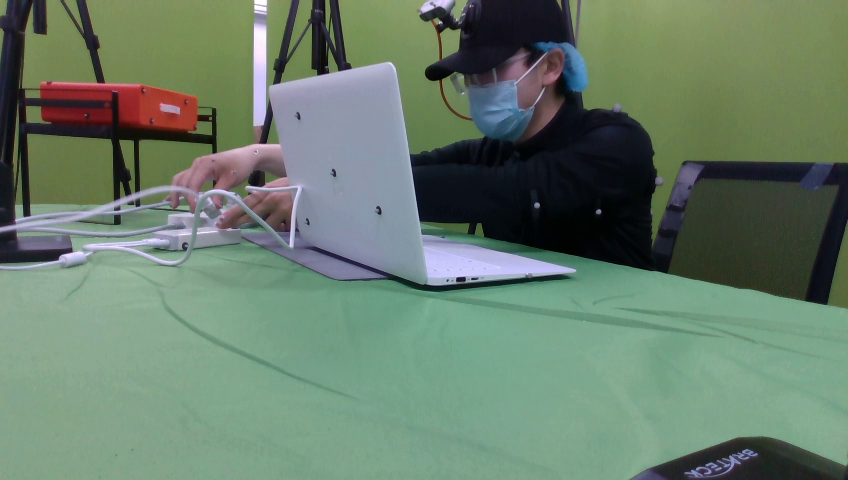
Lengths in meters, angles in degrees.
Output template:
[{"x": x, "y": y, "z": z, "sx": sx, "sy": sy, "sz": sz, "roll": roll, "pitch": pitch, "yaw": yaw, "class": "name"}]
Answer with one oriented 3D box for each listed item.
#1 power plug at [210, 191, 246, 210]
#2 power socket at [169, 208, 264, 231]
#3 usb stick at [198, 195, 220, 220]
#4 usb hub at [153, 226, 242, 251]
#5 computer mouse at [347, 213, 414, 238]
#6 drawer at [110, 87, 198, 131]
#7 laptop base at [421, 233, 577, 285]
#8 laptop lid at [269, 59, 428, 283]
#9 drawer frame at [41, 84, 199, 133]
[{"x": -0.386, "y": -0.071, "z": 1.203, "sx": 0.072, "sy": 0.052, "sz": 0.035, "roll": 8, "pitch": 11, "yaw": 25, "class": "power plug"}, {"x": -0.381, "y": -0.038, "z": 1.128, "sx": 0.072, "sy": 0.032, "sz": 0.227, "roll": 4, "pitch": 8, "yaw": 17, "class": "power socket"}, {"x": -0.354, "y": -0.051, "z": 1.000, "sx": 0.021, "sy": 0.027, "sz": 0.059, "roll": -36, "pitch": -7, "yaw": -18, "class": "usb stick"}, {"x": -0.337, "y": -0.003, "z": 0.907, "sx": 0.049, "sy": 0.025, "sz": 0.125, "roll": 6, "pitch": 9, "yaw": 28, "class": "usb hub"}, {"x": -0.079, "y": -0.025, "z": 1.080, "sx": 0.117, "sy": 0.041, "sz": 0.062, "roll": -5, "pitch": 12, "yaw": -18, "class": "computer mouse"}, {"x": -0.602, "y": -0.263, "z": 1.225, "sx": 0.211, "sy": 0.073, "sz": 0.195, "roll": 3, "pitch": 8, "yaw": 10, "class": "drawer"}, {"x": 0.007, "y": 0.022, "z": 0.850, "sx": 0.237, "sy": 0.023, "sz": 0.352, "roll": 1, "pitch": 7, "yaw": -34, "class": "laptop base"}, {"x": -0.110, "y": -0.087, "z": 0.752, "sx": 0.013, "sy": 0.241, "sz": 0.355, "roll": -18, "pitch": 19, "yaw": -30, "class": "laptop lid"}, {"x": -0.604, "y": -0.264, "z": 1.225, "sx": 0.213, "sy": 0.082, "sz": 0.202, "roll": 3, "pitch": 8, "yaw": 8, "class": "drawer frame"}]
